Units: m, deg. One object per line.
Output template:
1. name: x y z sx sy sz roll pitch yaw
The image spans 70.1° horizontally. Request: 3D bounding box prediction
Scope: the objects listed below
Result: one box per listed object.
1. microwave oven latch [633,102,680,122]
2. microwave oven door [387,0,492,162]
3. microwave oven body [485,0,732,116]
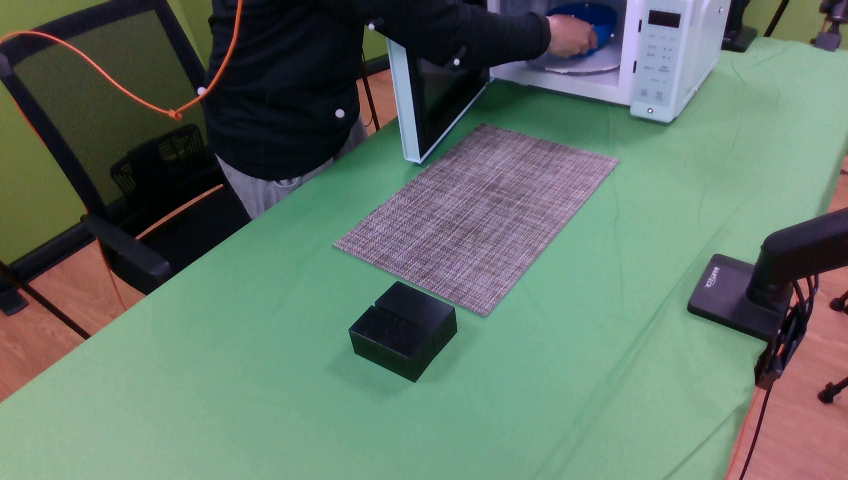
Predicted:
1. microwave oven latch: 0.443 -0.249 1.157 0.078 0.029 0.030 22 49 30
2. microwave oven door: 0.044 -0.347 1.171 0.039 0.245 0.356 14 45 24
3. microwave oven body: 0.377 -0.463 1.267 0.438 0.261 0.327 21 49 30
